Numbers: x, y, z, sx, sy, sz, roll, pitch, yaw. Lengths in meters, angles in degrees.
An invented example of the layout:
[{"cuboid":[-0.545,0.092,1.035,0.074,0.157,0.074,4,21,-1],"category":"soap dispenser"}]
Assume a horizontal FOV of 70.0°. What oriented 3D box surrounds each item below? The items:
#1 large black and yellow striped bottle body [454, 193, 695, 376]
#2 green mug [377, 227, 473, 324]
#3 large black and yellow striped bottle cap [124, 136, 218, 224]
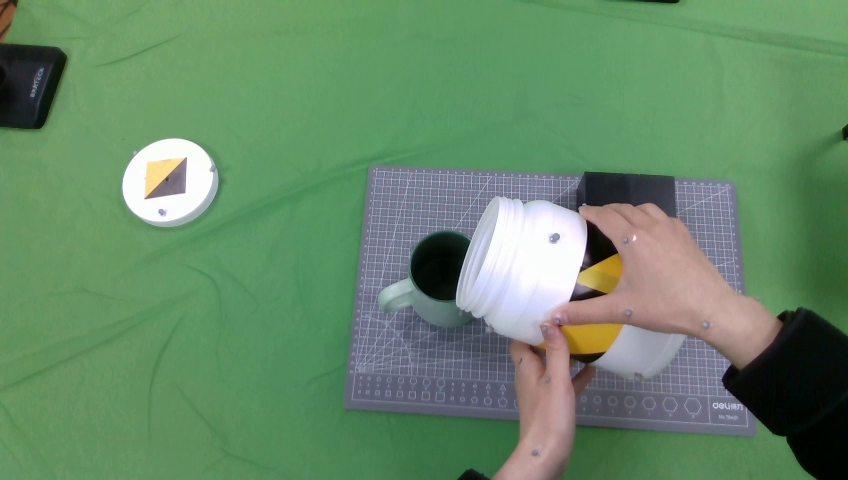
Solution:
[{"cuboid":[0.131,0.037,0.556,0.184,0.131,0.130,19,73,-5],"category":"large black and yellow striped bottle body"},{"cuboid":[0.009,0.046,0.659,0.125,0.105,0.092,-22,73,-5],"category":"green mug"},{"cuboid":[-0.317,-0.076,0.759,0.115,0.019,0.114,-1,71,2],"category":"large black and yellow striped bottle cap"}]
